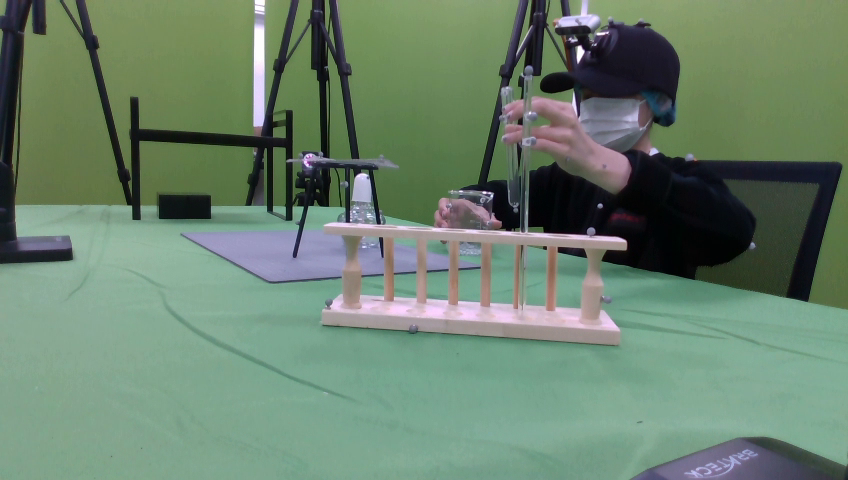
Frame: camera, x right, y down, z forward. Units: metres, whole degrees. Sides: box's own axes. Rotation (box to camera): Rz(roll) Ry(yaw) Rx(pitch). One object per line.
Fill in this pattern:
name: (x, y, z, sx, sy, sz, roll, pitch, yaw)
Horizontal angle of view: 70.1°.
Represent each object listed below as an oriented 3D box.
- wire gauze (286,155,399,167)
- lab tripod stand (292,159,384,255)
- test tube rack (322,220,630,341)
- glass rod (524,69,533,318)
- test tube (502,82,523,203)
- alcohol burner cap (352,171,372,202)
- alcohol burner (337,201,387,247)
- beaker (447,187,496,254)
wire gauze: (-0.101, -0.105, 0.788, 0.121, 0.011, 0.125, 4, 6, 6)
lab tripod stand: (-0.105, -0.039, 0.797, 0.148, 0.131, 0.148, 2, 5, 0)
test tube rack: (0.041, 0.029, 0.512, 0.242, 0.085, 0.067, 3, 7, 5)
glass rod: (0.082, -0.031, 0.473, 0.008, 0.199, 0.008, -2, 14, 1)
test tube: (0.111, -0.121, 0.756, 0.017, 0.150, 0.017, -5, 3, 1)
alcohol burner cap: (-0.096, -0.084, 0.951, 0.034, 0.048, 0.034, 6, 5, 0)
alcohol burner: (-0.098, -0.049, 0.954, 0.078, 0.119, 0.078, 0, 7, 0)
beaker: (0.076, -0.032, 0.949, 0.074, 0.100, 0.083, -5, 11, -41)
